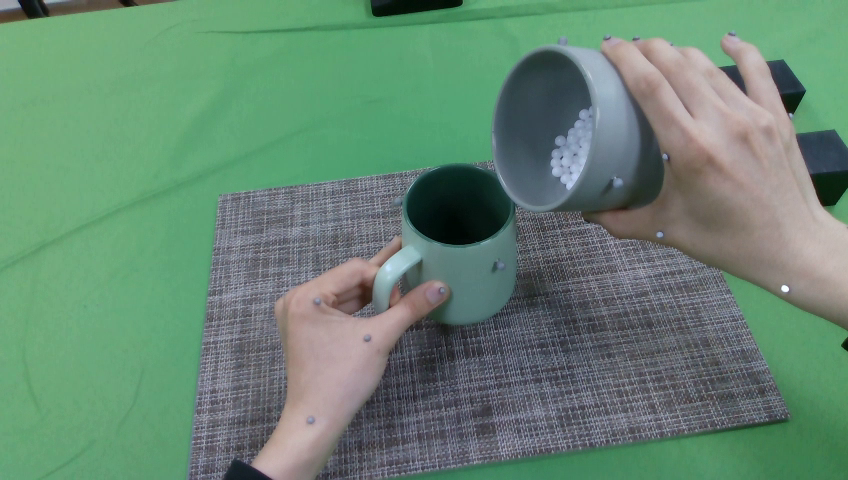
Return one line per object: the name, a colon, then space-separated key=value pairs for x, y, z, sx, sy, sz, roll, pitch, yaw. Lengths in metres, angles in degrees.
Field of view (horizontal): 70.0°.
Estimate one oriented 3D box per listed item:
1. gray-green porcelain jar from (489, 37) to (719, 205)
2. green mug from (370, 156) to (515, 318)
gray-green porcelain jar: x=0.125 y=-0.078 z=0.415 sx=0.127 sy=0.106 sz=0.104 roll=-4 pitch=50 yaw=-29
green mug: x=0.012 y=0.010 z=0.454 sx=0.125 sy=0.106 sz=0.091 roll=-37 pitch=61 yaw=-22
